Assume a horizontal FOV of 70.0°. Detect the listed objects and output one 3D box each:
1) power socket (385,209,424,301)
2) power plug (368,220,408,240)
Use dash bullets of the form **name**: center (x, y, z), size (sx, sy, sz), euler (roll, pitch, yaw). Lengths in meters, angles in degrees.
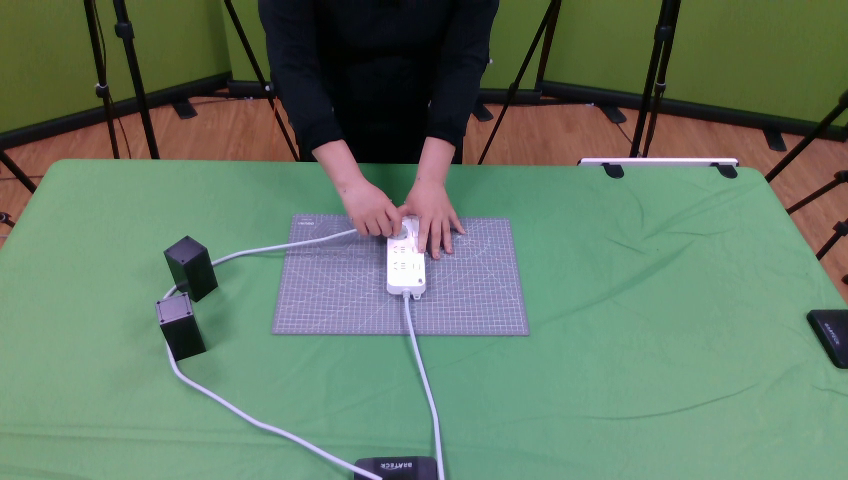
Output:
- **power socket**: center (-0.038, 0.019, 1.165), size (0.072, 0.033, 0.225), euler (0, 46, -3)
- **power plug**: center (-0.067, -0.018, 1.172), size (0.072, 0.053, 0.035), euler (9, 48, 7)
